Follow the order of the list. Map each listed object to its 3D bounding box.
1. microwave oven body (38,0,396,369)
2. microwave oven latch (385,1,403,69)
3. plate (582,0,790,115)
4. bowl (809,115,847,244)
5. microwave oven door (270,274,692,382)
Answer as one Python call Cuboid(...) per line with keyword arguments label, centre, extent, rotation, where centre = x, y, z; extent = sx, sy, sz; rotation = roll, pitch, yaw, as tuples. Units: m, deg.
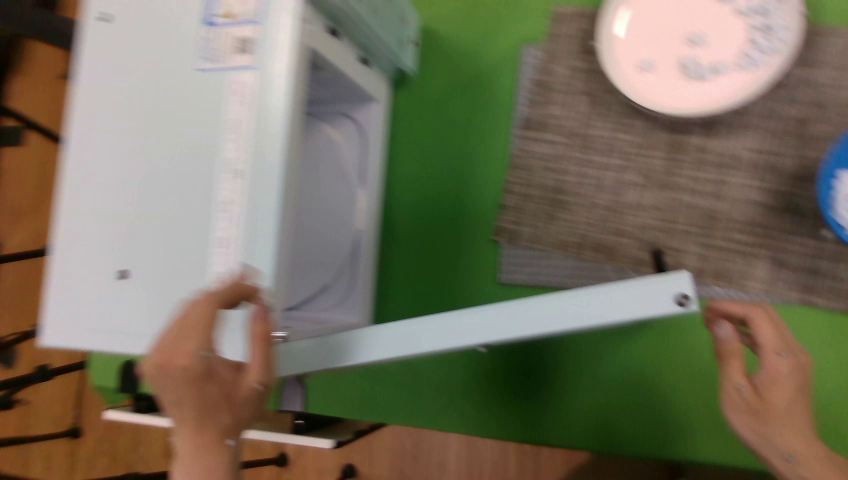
Cuboid(label="microwave oven body", centre=(-0.221, -0.093, 0.709), extent=(0.325, 0.261, 0.441), rotation=(1, 87, 18))
Cuboid(label="microwave oven latch", centre=(-0.042, -0.259, 0.765), extent=(0.030, 0.029, 0.079), rotation=(1, 87, 18))
Cuboid(label="plate", centre=(0.283, -0.236, 0.671), extent=(0.208, 0.038, 0.208), rotation=(-2, 84, 18))
Cuboid(label="bowl", centre=(0.447, -0.053, 0.581), extent=(0.151, 0.077, 0.151), rotation=(-2, 85, 19))
Cuboid(label="microwave oven door", centre=(0.065, 0.082, 0.596), extent=(0.355, 0.245, 0.039), rotation=(-13, 81, 17))
